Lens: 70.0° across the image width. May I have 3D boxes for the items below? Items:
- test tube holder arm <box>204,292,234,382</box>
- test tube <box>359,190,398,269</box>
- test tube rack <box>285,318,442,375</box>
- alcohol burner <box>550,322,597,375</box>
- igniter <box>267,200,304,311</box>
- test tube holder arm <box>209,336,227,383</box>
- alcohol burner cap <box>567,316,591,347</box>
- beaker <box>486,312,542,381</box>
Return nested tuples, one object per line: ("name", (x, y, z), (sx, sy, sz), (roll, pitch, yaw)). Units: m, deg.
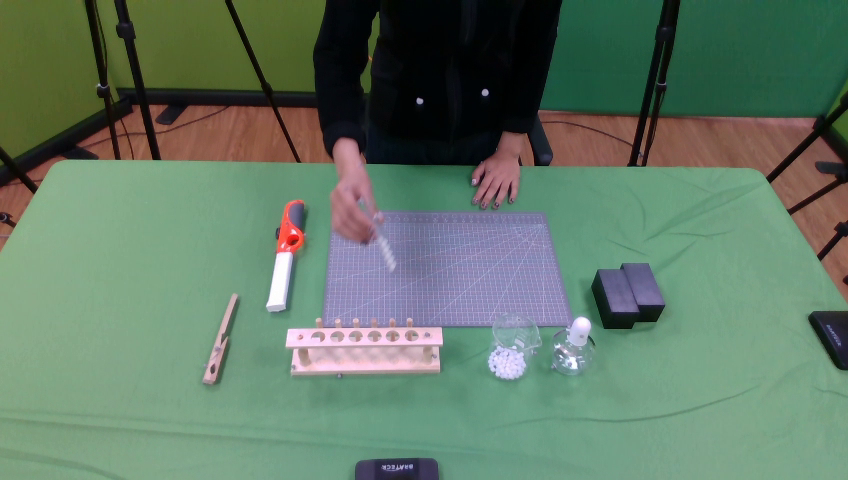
("test tube holder arm", (-0.343, 0.159, 1.020), (0.013, 0.015, 0.177), (27, 39, -27))
("test tube", (-0.069, -0.013, 0.944), (0.017, 0.151, 0.017), (-13, 35, 10))
("test tube rack", (-0.095, 0.168, 0.986), (0.242, 0.085, 0.066), (0, 46, -4))
("alcohol burner", (0.248, 0.168, 0.991), (0.078, 0.119, 0.077), (2, 48, -2))
("igniter", (-0.263, 0.020, 1.156), (0.057, 0.025, 0.274), (-6, 46, 4))
("test tube holder arm", (-0.338, 0.193, 0.991), (0.010, 0.015, 0.087), (29, 38, -26))
("alcohol burner cap", (0.249, 0.143, 0.965), (0.034, 0.048, 0.033), (4, 40, -3))
("beaker", (0.144, 0.177, 0.985), (0.084, 0.101, 0.074), (22, 49, 16))
